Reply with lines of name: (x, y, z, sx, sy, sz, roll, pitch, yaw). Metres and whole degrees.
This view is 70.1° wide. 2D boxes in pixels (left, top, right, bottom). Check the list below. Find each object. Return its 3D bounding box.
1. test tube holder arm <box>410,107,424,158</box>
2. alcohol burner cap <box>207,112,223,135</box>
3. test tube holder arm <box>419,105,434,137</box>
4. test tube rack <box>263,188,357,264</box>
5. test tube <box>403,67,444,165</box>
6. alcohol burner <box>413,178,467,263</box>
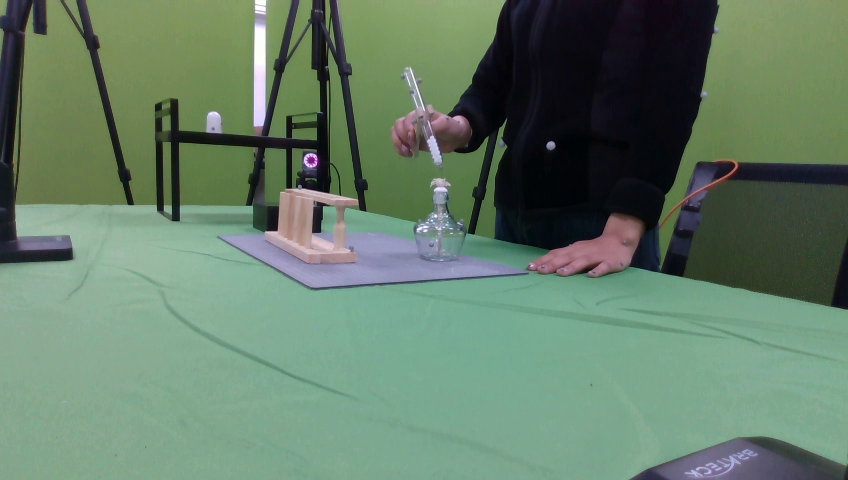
test tube holder arm: (-0.012, -0.161, 0.926, 0.013, 0.015, 0.178, -13, -10, -8)
alcohol burner cap: (-0.440, -0.245, 1.271, 0.034, 0.048, 0.034, 1, 7, 0)
test tube holder arm: (-0.001, -0.172, 0.883, 0.010, 0.015, 0.087, -12, -10, -15)
test tube rack: (-0.174, -0.027, 0.890, 0.067, 0.085, 0.241, 0, 8, -28)
test tube: (-0.001, -0.177, 0.860, 0.017, 0.150, 0.017, -18, -9, -3)
alcohol burner: (0.023, -0.029, 0.864, 0.078, 0.119, 0.078, 1, 6, 0)
